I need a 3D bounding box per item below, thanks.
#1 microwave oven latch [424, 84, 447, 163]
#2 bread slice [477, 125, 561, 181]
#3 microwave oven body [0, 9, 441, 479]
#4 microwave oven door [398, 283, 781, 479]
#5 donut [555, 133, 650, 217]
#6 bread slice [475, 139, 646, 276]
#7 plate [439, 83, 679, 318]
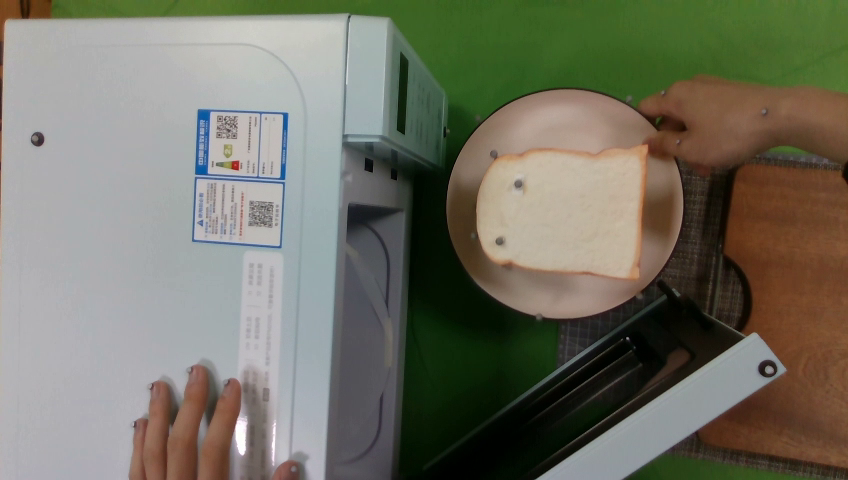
[{"bbox_3d":[0.008,-0.118,0.610,0.030,0.029,0.079,0,93,11],"label":"microwave oven latch"},{"bbox_3d":[0.117,-0.055,0.562,0.131,0.019,0.105,-15,96,-2],"label":"bread slice"},{"bbox_3d":[-0.168,0.051,0.554,0.325,0.260,0.442,3,94,11],"label":"microwave oven body"},{"bbox_3d":[0.092,0.168,0.503,0.356,0.244,0.039,-39,84,10],"label":"microwave oven door"},{"bbox_3d":[0.141,-0.043,0.519,0.099,0.048,0.099,1,96,9],"label":"donut"},{"bbox_3d":[0.108,-0.025,0.493,0.134,0.018,0.107,0,98,15],"label":"bread slice"},{"bbox_3d":[0.119,-0.034,0.550,0.207,0.039,0.208,1,98,9],"label":"plate"}]
